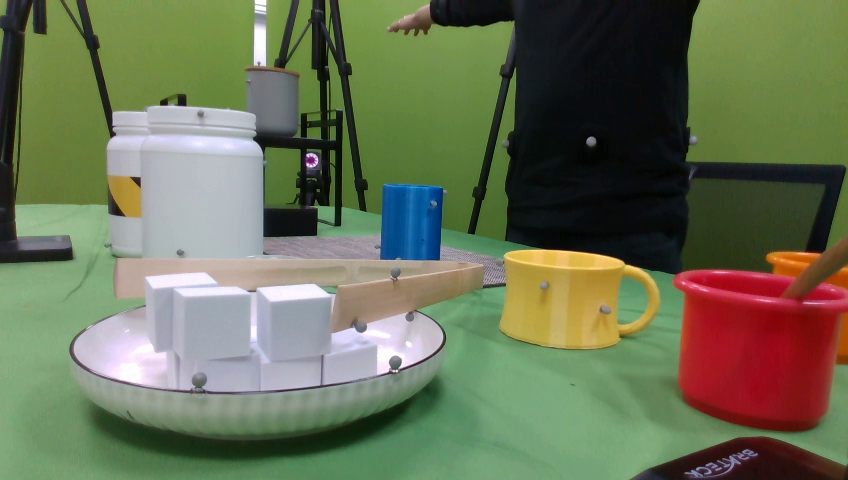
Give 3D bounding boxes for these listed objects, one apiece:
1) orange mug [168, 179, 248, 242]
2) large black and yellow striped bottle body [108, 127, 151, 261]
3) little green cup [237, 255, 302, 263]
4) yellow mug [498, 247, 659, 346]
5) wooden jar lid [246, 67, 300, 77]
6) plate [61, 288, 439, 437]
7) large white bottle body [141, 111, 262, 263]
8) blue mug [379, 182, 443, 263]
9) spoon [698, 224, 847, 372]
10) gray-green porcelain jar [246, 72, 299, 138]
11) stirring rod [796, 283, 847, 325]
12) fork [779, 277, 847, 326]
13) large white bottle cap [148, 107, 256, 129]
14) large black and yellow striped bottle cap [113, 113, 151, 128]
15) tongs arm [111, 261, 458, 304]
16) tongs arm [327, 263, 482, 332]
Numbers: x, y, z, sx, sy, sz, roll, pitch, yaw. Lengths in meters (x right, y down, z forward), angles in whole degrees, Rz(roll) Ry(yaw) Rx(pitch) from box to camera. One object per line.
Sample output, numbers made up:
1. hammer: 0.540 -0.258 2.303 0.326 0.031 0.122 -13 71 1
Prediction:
1. orange mug: -0.351 -0.050 0.986 0.126 0.101 0.083 -3 8 -9
2. large black and yellow striped bottle body: -0.350 -0.071 0.812 0.131 0.184 0.130 2 7 0
3. little green cup: -0.150 0.038 0.590 0.061 0.038 0.061 3 6 0
4. yellow mug: 0.130 0.045 0.508 0.131 0.064 0.100 4 7 6
5. wooden jar lid: -0.312 -0.339 1.247 0.108 0.020 0.108 4 8 0
6. plate: -0.095 0.069 0.362 0.208 0.039 0.207 3 7 0
7. large white bottle body: -0.254 -0.053 0.697 0.131 0.184 0.130 2 7 0
8. blue mug: -0.020 -0.026 0.833 0.082 0.106 0.116 1 7 -7
9. spoon: 0.195 0.032 0.323 0.041 0.021 0.194 1 -36 2
10. gray-green porcelain jar: -0.314 -0.277 1.256 0.106 0.126 0.106 3 8 0
11. stirring rod: 0.347 0.019 0.460 0.014 0.176 0.006 -16 59 -26
12. fork: 0.336 0.018 0.443 0.028 0.018 0.207 -2 -36 -20
13. large white bottle cap: -0.250 -0.137 0.686 0.115 0.018 0.115 2 8 0
14. large black and yellow striped bottle cap: -0.348 -0.154 0.800 0.115 0.019 0.115 2 6 0
15. tongs arm: -0.080 0.032 0.527 0.028 0.027 0.389 -3 -3 33
16. tongs arm: -0.003 0.036 0.493 0.050 0.026 0.386 1 0 19
